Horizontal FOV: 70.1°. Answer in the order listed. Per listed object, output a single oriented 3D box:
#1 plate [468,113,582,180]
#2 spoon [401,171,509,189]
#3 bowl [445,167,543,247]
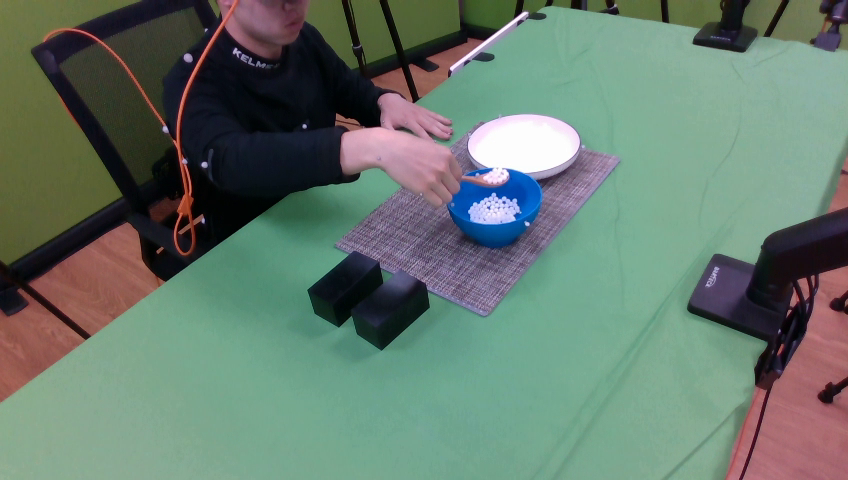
[{"bbox_3d":[0.186,-0.169,1.122,0.207,0.039,0.206,-4,41,4],"label":"plate"},{"bbox_3d":[0.049,-0.089,0.902,0.195,0.021,0.041,-5,34,-34],"label":"spoon"},{"bbox_3d":[0.111,-0.042,0.952,0.151,0.077,0.150,-4,41,4],"label":"bowl"}]
